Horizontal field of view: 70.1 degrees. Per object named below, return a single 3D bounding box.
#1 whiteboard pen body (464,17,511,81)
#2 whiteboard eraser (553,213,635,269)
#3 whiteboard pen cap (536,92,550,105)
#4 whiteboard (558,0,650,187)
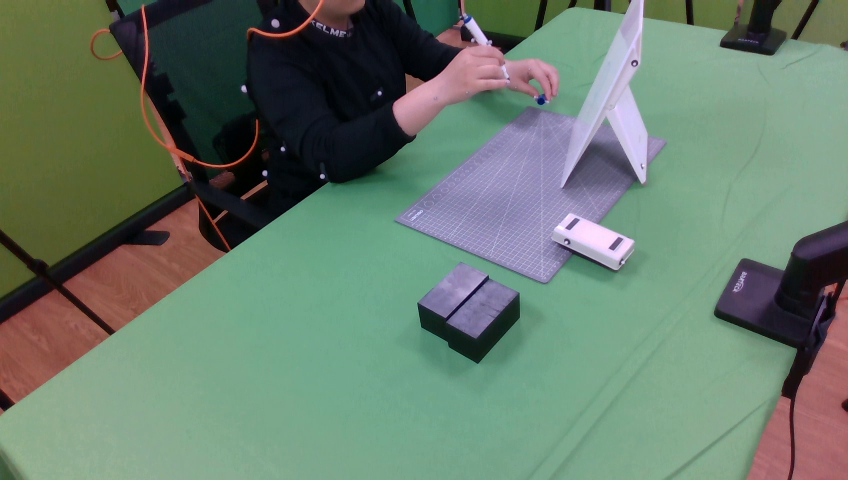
[{"bbox_3d":[0.110,-0.321,1.027,0.017,0.142,0.017,-27,39,25],"label":"whiteboard pen body"},{"bbox_3d":[0.258,0.003,0.918,0.112,0.042,0.056,27,50,30],"label":"whiteboard eraser"},{"bbox_3d":[0.235,-0.282,1.200,0.018,0.018,0.033,-22,40,-16],"label":"whiteboard pen cap"},{"bbox_3d":[0.362,-0.238,1.026,0.144,0.306,0.217,21,45,4],"label":"whiteboard"}]
